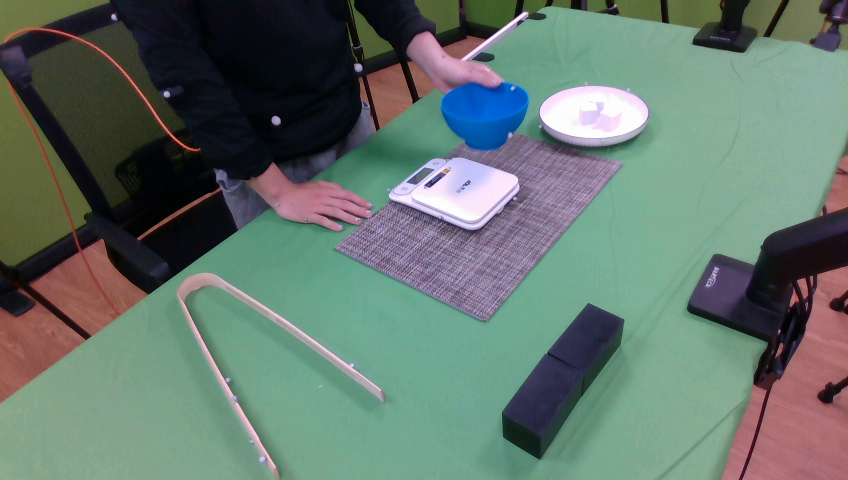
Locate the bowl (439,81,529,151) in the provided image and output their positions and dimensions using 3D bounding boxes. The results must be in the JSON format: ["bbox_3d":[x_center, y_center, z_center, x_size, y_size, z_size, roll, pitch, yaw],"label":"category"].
[{"bbox_3d":[0.104,-0.205,1.035,0.151,0.077,0.150,-4,38,4],"label":"bowl"}]

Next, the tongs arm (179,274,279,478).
[{"bbox_3d":[-0.260,0.161,0.807,0.051,0.026,0.381,-28,44,-25],"label":"tongs arm"}]

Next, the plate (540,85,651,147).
[{"bbox_3d":[0.333,-0.239,1.186,0.207,0.039,0.206,-4,41,4],"label":"plate"}]

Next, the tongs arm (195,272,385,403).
[{"bbox_3d":[-0.199,0.125,0.847,0.384,0.028,0.028,25,52,32],"label":"tongs arm"}]

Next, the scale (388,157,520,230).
[{"bbox_3d":[0.050,-0.090,1.051,0.199,0.032,0.149,24,49,31],"label":"scale"}]
